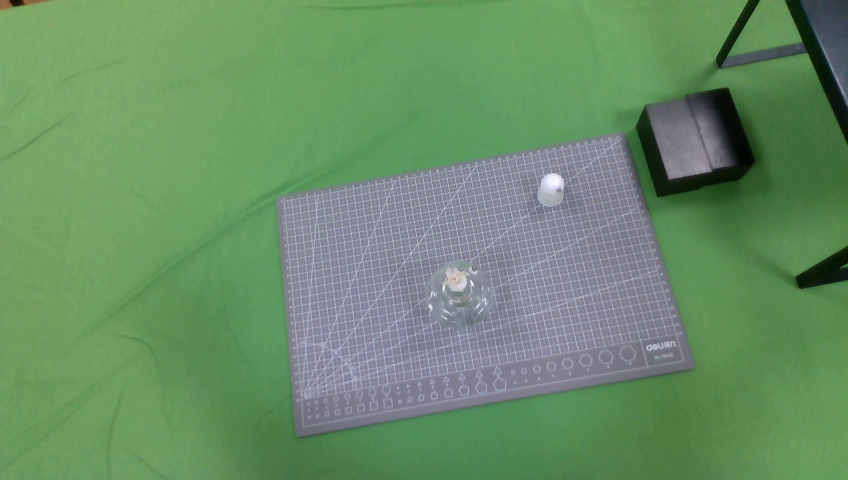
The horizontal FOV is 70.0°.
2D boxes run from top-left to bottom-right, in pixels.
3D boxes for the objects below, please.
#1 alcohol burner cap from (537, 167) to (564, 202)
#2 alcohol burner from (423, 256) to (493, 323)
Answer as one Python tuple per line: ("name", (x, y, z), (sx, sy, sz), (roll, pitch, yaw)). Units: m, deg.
("alcohol burner cap", (0.153, -0.069, 0.725), (0.034, 0.048, 0.033), (-2, 72, 6))
("alcohol burner", (0.036, 0.050, 0.660), (0.078, 0.120, 0.077), (-2, 73, 6))
